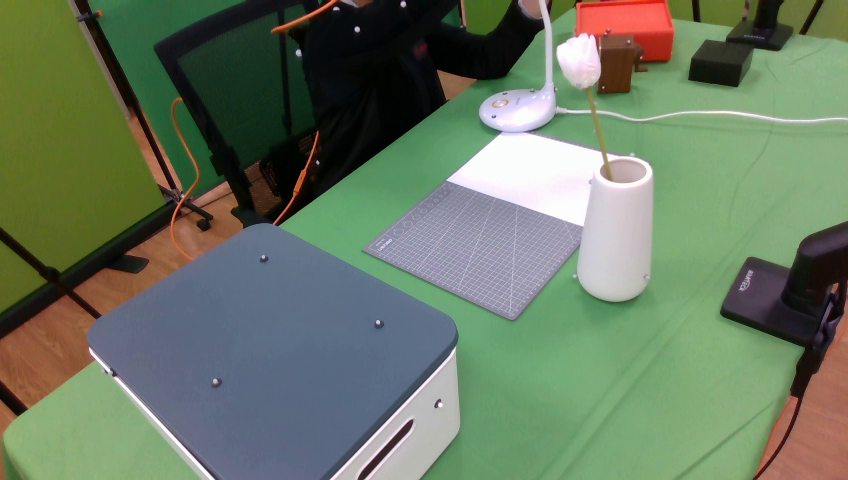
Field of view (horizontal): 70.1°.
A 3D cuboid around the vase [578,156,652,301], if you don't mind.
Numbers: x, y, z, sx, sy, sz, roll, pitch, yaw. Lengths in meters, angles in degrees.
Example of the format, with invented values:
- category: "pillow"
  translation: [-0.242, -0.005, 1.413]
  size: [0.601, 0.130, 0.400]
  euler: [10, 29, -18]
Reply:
- category: "vase"
  translation: [0.261, -0.011, 0.812]
  size: [0.098, 0.201, 0.097]
  euler: [-4, 40, 4]

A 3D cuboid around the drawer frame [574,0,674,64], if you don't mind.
- category: "drawer frame"
  translation: [0.464, -0.492, 1.434]
  size: [0.213, 0.083, 0.201]
  euler: [1, 40, 12]

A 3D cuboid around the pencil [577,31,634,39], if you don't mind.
- category: "pencil"
  translation: [0.430, -0.488, 1.443]
  size: [0.012, 0.012, 0.192]
  euler: [-25, 30, -18]

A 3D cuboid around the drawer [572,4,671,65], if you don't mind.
- category: "drawer"
  translation: [0.461, -0.490, 1.434]
  size: [0.211, 0.073, 0.194]
  euler: [2, 40, 12]

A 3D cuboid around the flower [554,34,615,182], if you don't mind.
- category: "flower"
  translation: [0.237, -0.083, 0.774]
  size: [0.044, 0.363, 0.038]
  euler: [-22, 26, 6]

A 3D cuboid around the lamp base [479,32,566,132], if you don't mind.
- category: "lamp base"
  translation: [0.200, -0.332, 1.218]
  size: [0.179, 0.181, 0.160]
  euler: [1, 41, 7]

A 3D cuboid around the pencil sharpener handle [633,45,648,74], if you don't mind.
- category: "pencil sharpener handle"
  translation: [0.454, -0.378, 1.262]
  size: [0.030, 0.068, 0.036]
  euler: [1, 47, 13]

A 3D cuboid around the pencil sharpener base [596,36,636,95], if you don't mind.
- category: "pencil sharpener base"
  translation: [0.406, -0.369, 1.280]
  size: [0.076, 0.107, 0.061]
  euler: [1, 41, 13]

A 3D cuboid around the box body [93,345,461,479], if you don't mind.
- category: "box body"
  translation: [-0.162, 0.170, 0.708]
  size: [0.361, 0.161, 0.255]
  euler: [25, 50, 34]

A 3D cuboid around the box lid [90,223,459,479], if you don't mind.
- category: "box lid"
  translation: [-0.174, 0.102, 0.666]
  size: [0.368, 0.015, 0.264]
  euler: [24, 48, 35]
